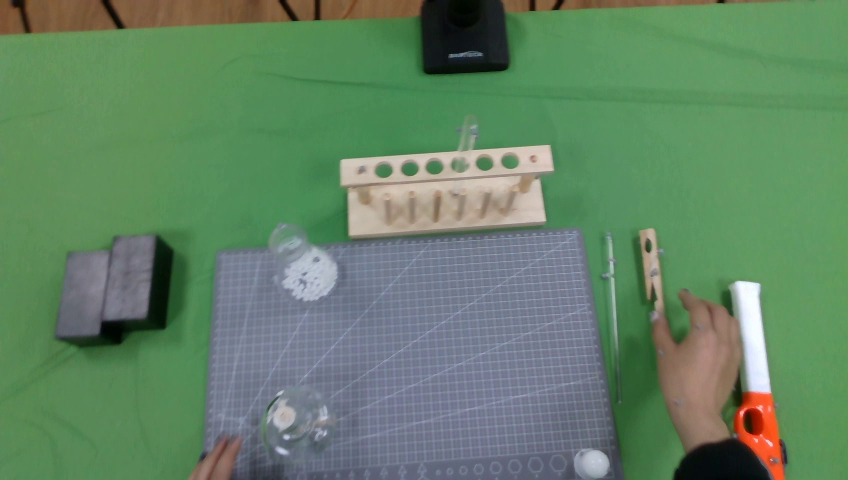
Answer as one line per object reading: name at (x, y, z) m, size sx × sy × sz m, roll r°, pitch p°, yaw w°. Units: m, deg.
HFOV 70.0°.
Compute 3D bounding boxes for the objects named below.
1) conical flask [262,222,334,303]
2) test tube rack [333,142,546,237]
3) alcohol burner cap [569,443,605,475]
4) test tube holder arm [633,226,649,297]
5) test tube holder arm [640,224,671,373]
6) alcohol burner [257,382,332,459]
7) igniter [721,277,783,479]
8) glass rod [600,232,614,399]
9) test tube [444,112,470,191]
conical flask at (-0.145, 0.020, 0.672) m, size 0.075 × 0.122 × 0.075 m, roll 0°, pitch 69°, yaw 0°
test tube rack at (0.019, -0.059, 0.724) m, size 0.242 × 0.086 × 0.066 m, roll -5°, pitch 70°, yaw -2°
alcohol burner cap at (0.174, 0.229, 0.637) m, size 0.034 × 0.048 × 0.033 m, roll 0°, pitch 68°, yaw 0°
test tube holder arm at (0.264, 0.026, 0.730) m, size 0.010 × 0.015 × 0.087 m, roll -15°, pitch 66°, yaw 32°
test tube holder arm at (0.270, 0.066, 0.712) m, size 0.013 × 0.015 × 0.177 m, roll -16°, pitch 66°, yaw 32°
alcohol burner at (-0.135, 0.181, 0.617) m, size 0.078 × 0.120 × 0.077 m, roll -1°, pitch 68°, yaw 2°
igniter at (0.360, 0.174, 0.669) m, size 0.057 × 0.025 × 0.274 m, roll 7°, pitch 69°, yaw -8°
glass rod at (0.215, 0.084, 0.712) m, size 0.008 × 0.008 × 0.198 m, roll 2°, pitch 72°, yaw 1°
test tube at (0.036, -0.095, 0.685) m, size 0.017 × 0.151 × 0.017 m, roll 1°, pitch 66°, yaw -2°
